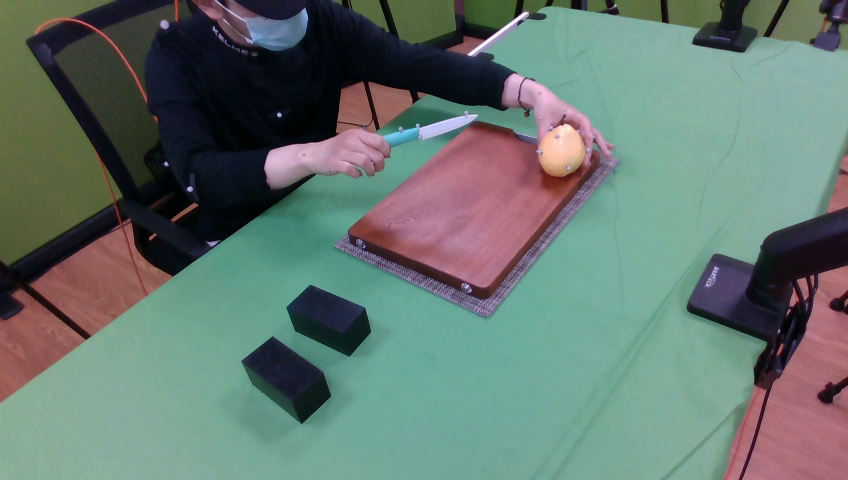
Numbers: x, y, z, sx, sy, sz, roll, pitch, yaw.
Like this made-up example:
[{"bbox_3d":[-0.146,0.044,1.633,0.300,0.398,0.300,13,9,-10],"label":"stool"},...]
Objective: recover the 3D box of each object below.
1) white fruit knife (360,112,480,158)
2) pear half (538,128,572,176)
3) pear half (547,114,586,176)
[{"bbox_3d":[-0.011,-0.164,0.926,0.206,0.027,0.016,-14,45,22],"label":"white fruit knife"},{"bbox_3d":[0.213,-0.143,1.008,0.031,0.088,0.070,-35,56,-28],"label":"pear half"},{"bbox_3d":[0.241,-0.167,1.017,0.056,0.110,0.075,-34,52,-27],"label":"pear half"}]
